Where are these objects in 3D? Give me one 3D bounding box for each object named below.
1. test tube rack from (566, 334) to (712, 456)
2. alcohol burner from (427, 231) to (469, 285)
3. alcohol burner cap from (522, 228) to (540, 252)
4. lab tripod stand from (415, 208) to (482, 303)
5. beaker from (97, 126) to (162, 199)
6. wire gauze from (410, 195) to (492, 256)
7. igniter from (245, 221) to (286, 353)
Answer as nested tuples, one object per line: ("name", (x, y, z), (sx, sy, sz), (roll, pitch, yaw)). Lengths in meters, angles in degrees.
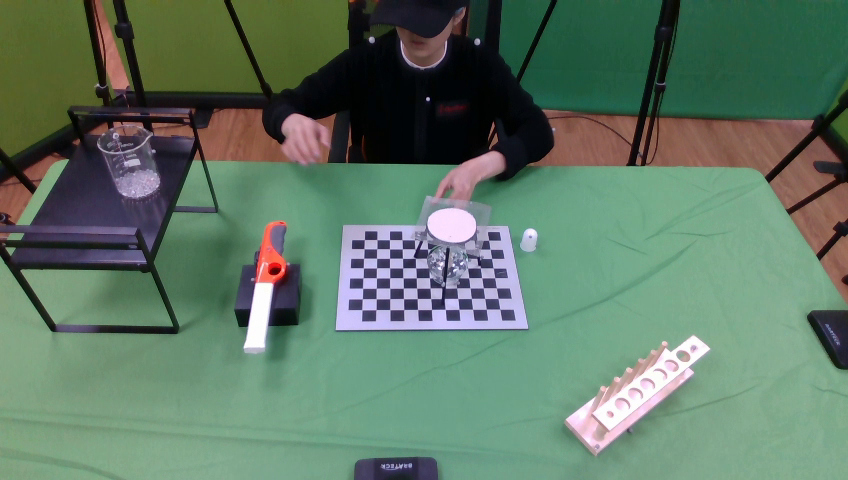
("test tube rack", (0.338, 0.228, 0.950), (0.242, 0.085, 0.066), (-26, 52, -26))
("alcohol burner", (0.046, 0.027, 1.103), (0.078, 0.119, 0.077), (3, 45, -3))
("alcohol burner cap", (0.214, -0.003, 1.198), (0.034, 0.048, 0.033), (1, 46, -1))
("lab tripod stand", (0.043, 0.019, 1.097), (0.148, 0.132, 0.147), (0, 47, 0))
("beaker", (-0.468, -0.124, 0.979), (0.084, 0.101, 0.073), (-25, 53, -26))
("wire gauze", (0.049, -0.031, 1.051), (0.125, 0.011, 0.121), (12, 47, 10))
("igniter", (-0.270, 0.070, 1.040), (0.057, 0.025, 0.274), (2, 48, -6))
